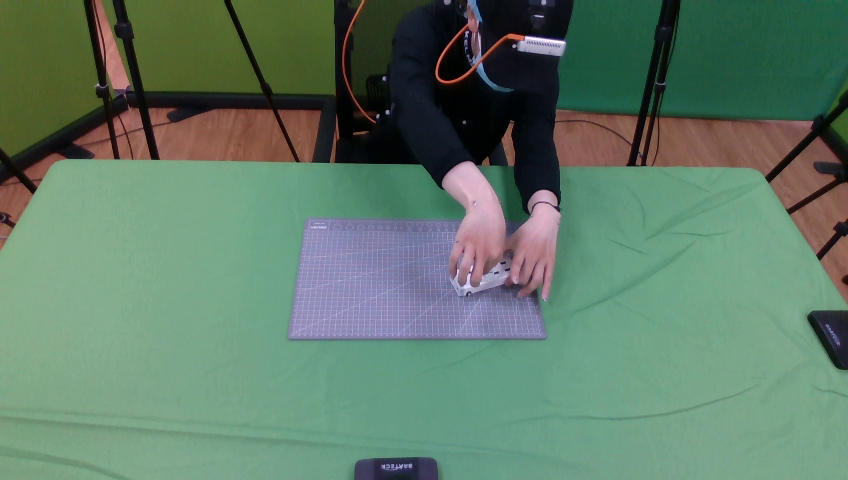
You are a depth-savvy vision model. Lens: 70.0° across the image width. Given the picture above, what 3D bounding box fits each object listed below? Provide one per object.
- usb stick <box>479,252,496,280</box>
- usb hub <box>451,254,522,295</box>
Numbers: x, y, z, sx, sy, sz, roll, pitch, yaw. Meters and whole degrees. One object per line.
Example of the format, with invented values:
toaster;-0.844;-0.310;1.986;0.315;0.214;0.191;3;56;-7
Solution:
usb stick;0.114;0.051;1.096;0.021;0.059;0.027;-22;52;-20
usb hub;0.116;0.065;1.133;0.125;0.025;0.049;-15;49;-16
